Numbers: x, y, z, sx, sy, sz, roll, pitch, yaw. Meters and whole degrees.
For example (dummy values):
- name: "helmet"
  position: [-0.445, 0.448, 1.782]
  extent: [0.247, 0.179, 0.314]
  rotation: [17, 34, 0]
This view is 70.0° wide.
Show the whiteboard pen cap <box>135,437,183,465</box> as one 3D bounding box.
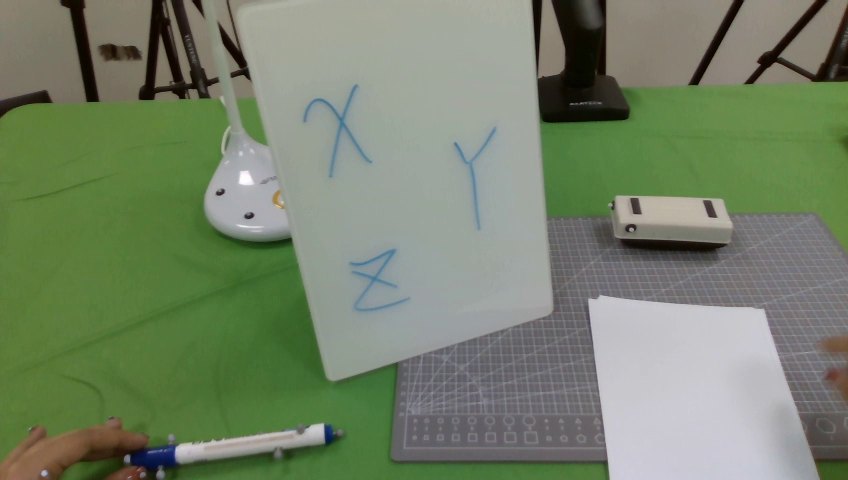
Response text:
- name: "whiteboard pen cap"
  position: [-0.198, 0.158, 0.455]
  extent: [0.033, 0.018, 0.018]
  rotation: [-5, 40, -11]

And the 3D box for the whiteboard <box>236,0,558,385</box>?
- name: "whiteboard"
  position: [-0.020, -0.065, 0.543]
  extent: [0.217, 0.307, 0.142]
  rotation: [-15, 22, -12]

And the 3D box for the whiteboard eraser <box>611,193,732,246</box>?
- name: "whiteboard eraser"
  position: [0.256, -0.021, 0.632]
  extent: [0.112, 0.042, 0.055]
  rotation: [3, 42, 7]

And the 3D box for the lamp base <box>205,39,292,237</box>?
- name: "lamp base"
  position: [-0.187, -0.121, 0.671]
  extent: [0.177, 0.182, 0.160]
  rotation: [28, 49, 34]

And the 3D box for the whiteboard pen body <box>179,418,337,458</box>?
- name: "whiteboard pen body"
  position: [-0.138, 0.154, 0.465]
  extent: [0.141, 0.017, 0.017]
  rotation: [-6, 40, -8]
